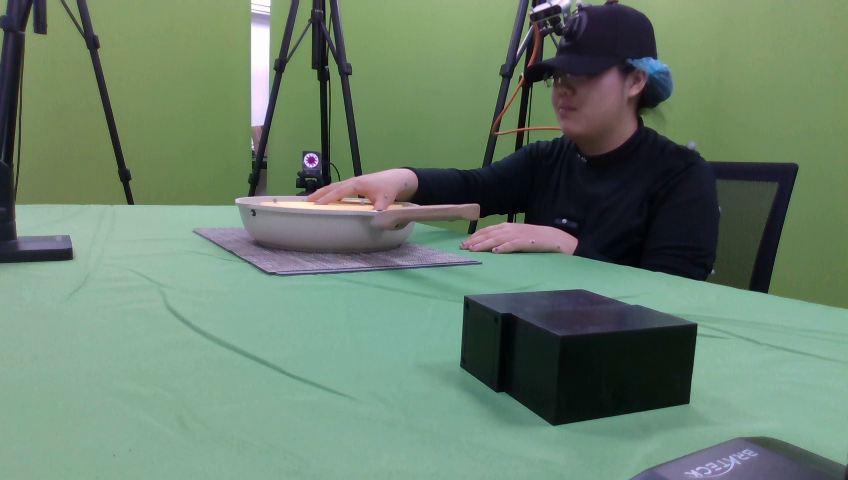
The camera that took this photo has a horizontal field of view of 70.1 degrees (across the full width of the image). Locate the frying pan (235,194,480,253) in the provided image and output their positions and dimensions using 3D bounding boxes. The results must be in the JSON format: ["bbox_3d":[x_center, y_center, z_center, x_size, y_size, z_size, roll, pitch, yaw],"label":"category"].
[{"bbox_3d":[-0.089,-0.034,0.891,0.308,0.102,0.485,-4,2,-36],"label":"frying pan"}]

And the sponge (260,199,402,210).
[{"bbox_3d":[-0.147,-0.030,0.981,0.117,0.061,0.208,8,9,39],"label":"sponge"}]
